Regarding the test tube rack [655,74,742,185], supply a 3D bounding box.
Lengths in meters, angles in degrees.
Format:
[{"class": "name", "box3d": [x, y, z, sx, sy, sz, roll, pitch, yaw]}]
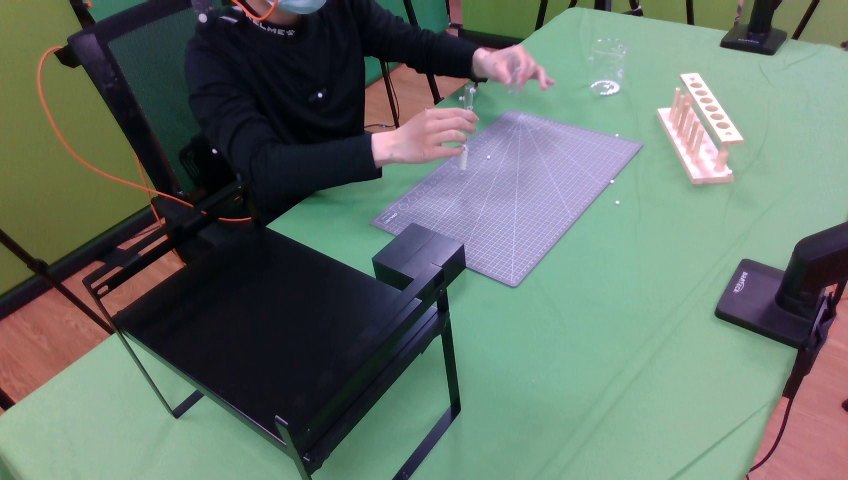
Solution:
[{"class": "test tube rack", "box3d": [0.488, -0.205, 1.093, 0.067, 0.085, 0.241, -3, 40, 5]}]

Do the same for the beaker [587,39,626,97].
[{"class": "beaker", "box3d": [0.386, -0.361, 1.280, 0.074, 0.101, 0.083, -22, 43, -15]}]

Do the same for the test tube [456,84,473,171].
[{"class": "test tube", "box3d": [0.068, -0.186, 1.016, 0.017, 0.150, 0.017, 3, 29, -1]}]

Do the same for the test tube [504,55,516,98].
[{"class": "test tube", "box3d": [0.160, -0.301, 1.122, 0.017, 0.151, 0.017, -2, 78, 11]}]
